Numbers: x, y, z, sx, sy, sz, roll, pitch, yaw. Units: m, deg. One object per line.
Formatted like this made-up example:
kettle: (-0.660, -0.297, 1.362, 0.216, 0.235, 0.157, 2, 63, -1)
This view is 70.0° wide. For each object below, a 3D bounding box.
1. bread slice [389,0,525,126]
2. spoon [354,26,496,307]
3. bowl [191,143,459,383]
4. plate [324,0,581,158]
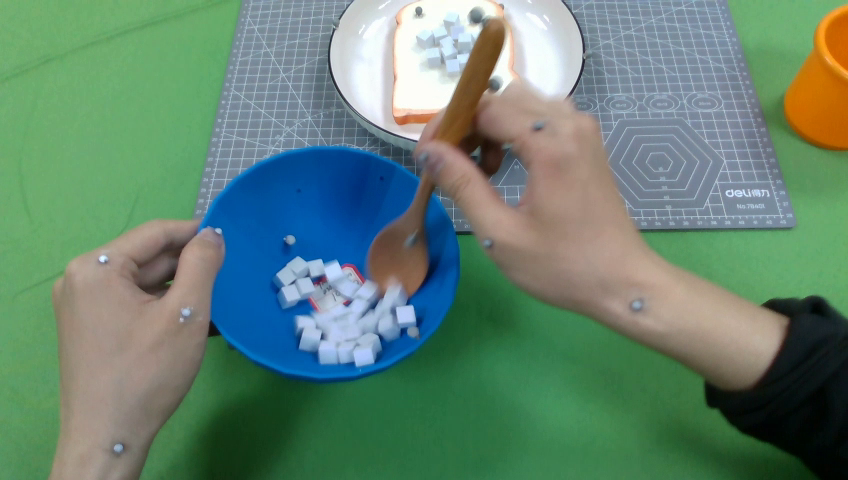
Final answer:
bread slice: (0.019, -0.153, 0.512, 0.107, 0.018, 0.133, -7, 63, -1)
spoon: (-0.002, -0.025, 0.324, 0.041, 0.195, 0.021, 36, 48, 9)
bowl: (-0.059, 0.023, 0.378, 0.152, 0.077, 0.150, 5, 62, -8)
plate: (0.022, -0.150, 0.507, 0.209, 0.038, 0.207, -1, 62, 2)
